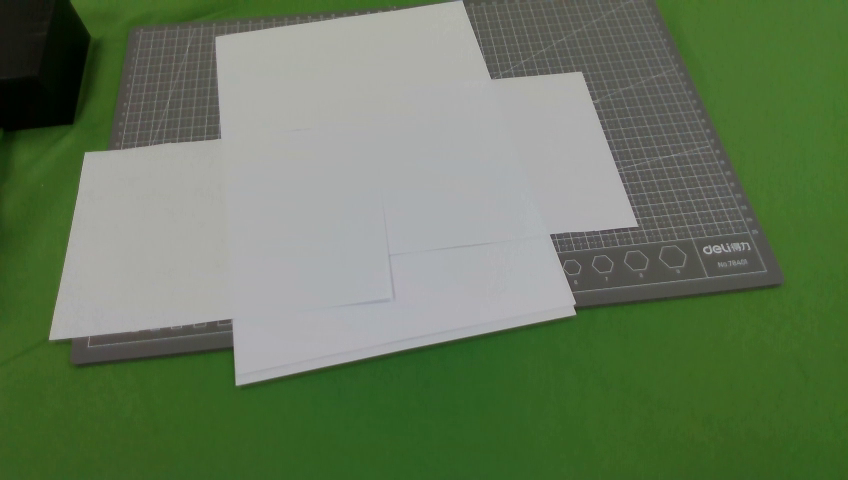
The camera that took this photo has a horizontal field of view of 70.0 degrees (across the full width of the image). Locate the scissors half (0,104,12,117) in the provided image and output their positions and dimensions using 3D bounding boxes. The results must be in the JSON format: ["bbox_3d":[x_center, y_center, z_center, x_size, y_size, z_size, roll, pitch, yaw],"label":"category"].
[{"bbox_3d":[-0.312,-0.053,0.404,0.013,0.040,0.173,-6,36,-4],"label":"scissors half"}]

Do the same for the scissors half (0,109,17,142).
[{"bbox_3d":[-0.310,-0.039,0.418,0.013,0.040,0.173,-9,50,0],"label":"scissors half"}]
